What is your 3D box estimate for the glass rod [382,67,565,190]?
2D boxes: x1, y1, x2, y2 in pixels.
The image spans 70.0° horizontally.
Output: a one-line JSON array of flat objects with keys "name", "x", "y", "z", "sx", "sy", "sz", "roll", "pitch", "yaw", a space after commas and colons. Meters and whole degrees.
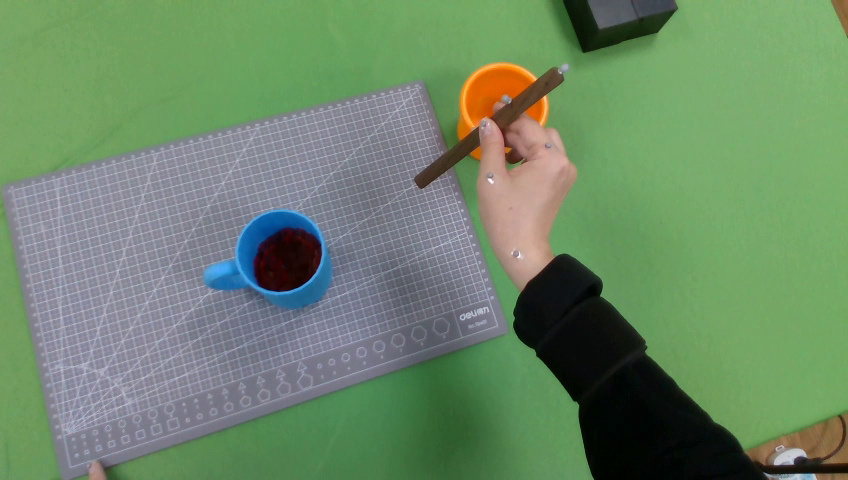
[{"name": "glass rod", "x": 0.032, "y": -0.087, "z": 0.504, "sx": 0.008, "sy": 0.199, "sz": 0.008, "roll": 28, "pitch": 48, "yaw": -36}]

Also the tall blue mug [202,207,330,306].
[{"name": "tall blue mug", "x": -0.142, "y": 0.028, "z": 0.570, "sx": 0.107, "sy": 0.108, "sz": 0.077, "roll": -41, "pitch": 85, "yaw": -12}]
